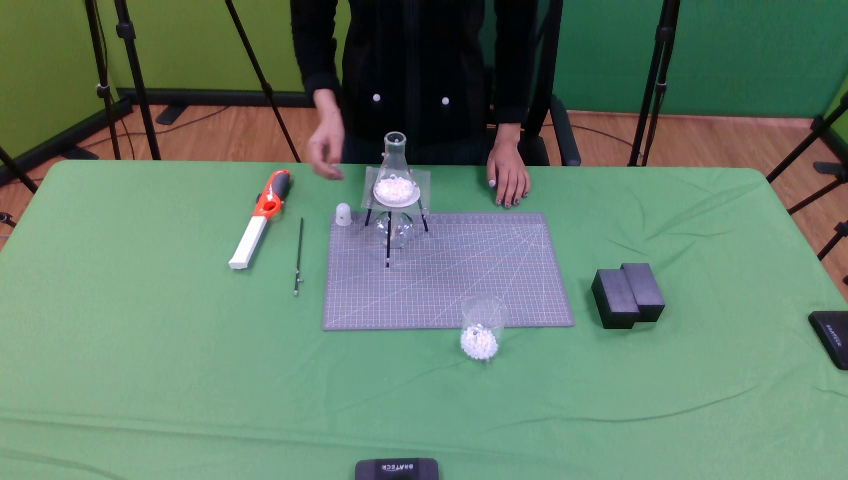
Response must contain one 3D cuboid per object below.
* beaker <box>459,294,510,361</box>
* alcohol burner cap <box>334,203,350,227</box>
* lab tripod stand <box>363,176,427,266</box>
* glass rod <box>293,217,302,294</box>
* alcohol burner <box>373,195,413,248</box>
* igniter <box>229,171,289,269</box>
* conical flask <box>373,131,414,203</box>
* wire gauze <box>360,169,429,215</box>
[{"bbox_3d":[0.095,0.147,1.012,0.083,0.101,0.074,26,49,21],"label":"beaker"},{"bbox_3d":[-0.166,-0.054,1.221,0.034,0.048,0.033,2,46,-2],"label":"alcohol burner cap"},{"bbox_3d":[-0.057,-0.047,1.159,0.148,0.132,0.147,3,44,-2],"label":"lab tripod stand"},{"bbox_3d":[-0.243,0.025,1.166,0.008,0.008,0.198,-2,47,-5],"label":"glass rod"},{"bbox_3d":[-0.059,-0.041,1.167,0.078,0.119,0.077,4,46,-4],"label":"alcohol burner"},{"bbox_3d":[-0.328,-0.049,1.218,0.057,0.025,0.275,1,45,11],"label":"igniter"},{"bbox_3d":[-0.053,-0.131,1.067,0.075,0.122,0.075,2,44,-2],"label":"conical flask"},{"bbox_3d":[-0.052,-0.092,1.111,0.125,0.011,0.120,3,43,1],"label":"wire gauze"}]
